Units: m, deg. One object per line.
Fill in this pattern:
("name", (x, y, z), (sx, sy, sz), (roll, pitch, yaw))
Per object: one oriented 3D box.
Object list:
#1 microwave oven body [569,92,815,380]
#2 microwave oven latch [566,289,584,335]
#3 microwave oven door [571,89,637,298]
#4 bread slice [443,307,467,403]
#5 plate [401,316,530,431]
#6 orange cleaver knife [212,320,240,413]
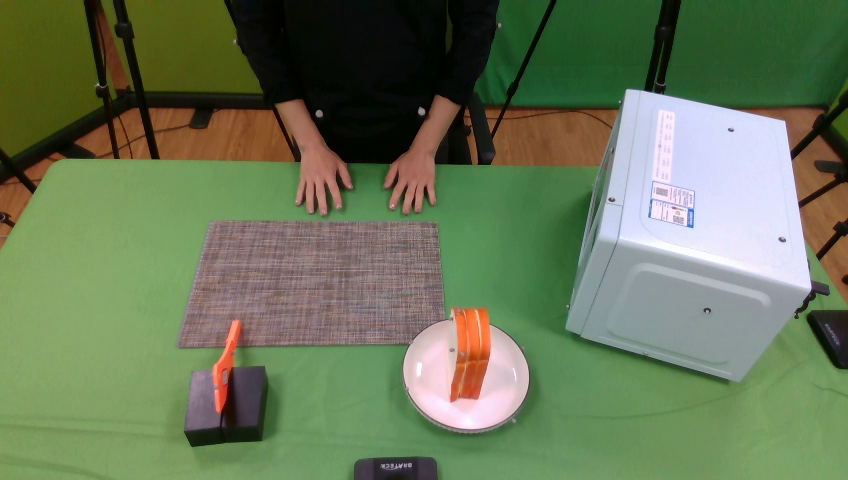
("microwave oven body", (0.468, -0.021, 1.082), (0.325, 0.261, 0.440), (15, 46, 11))
("microwave oven latch", (0.267, 0.126, 1.059), (0.030, 0.029, 0.079), (15, 46, 11))
("microwave oven door", (0.343, -0.091, 1.133), (0.039, 0.245, 0.354), (15, 47, 10))
("bread slice", (0.048, 0.171, 0.948), (0.018, 0.135, 0.106), (0, 42, -7))
("plate", (0.066, 0.217, 0.982), (0.208, 0.039, 0.206), (2, 46, -2))
("orange cleaver knife", (-0.306, 0.190, 0.944), (0.012, 0.077, 0.210), (-5, 17, -7))
